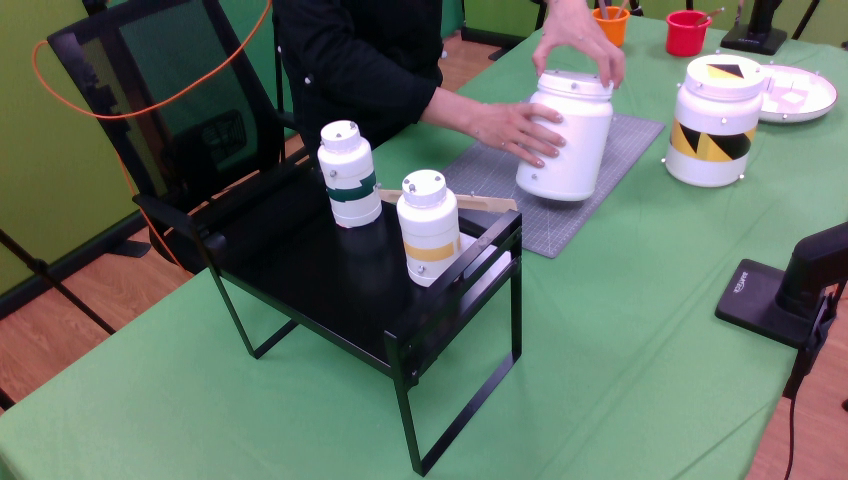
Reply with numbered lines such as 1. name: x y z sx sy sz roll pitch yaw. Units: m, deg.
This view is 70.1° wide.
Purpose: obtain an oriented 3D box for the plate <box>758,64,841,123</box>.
1. plate: 0.695 -0.283 1.189 0.207 0.039 0.206 -4 40 4

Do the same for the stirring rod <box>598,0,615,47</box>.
1. stirring rod: 0.437 -0.551 1.462 0.014 0.006 0.175 -11 83 1

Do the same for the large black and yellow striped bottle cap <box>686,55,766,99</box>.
1. large black and yellow striped bottle cap: 0.474 -0.258 0.952 0.115 0.019 0.114 -5 41 5

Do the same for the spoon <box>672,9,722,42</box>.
1. spoon: 0.606 -0.476 1.345 0.042 0.021 0.193 -6 -3 -2

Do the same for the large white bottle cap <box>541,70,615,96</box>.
1. large white bottle cap: 0.240 -0.245 0.944 0.115 0.018 0.114 7 24 -3

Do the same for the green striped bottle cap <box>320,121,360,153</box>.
1. green striped bottle cap: -0.097 -0.120 0.699 0.044 0.020 0.044 -4 40 3

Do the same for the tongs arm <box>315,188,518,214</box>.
1. tongs arm: -0.028 -0.060 0.988 0.382 0.027 0.051 9 45 36

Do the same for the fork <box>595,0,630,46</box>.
1. fork: 0.479 -0.556 1.452 0.028 0.019 0.207 41 103 40

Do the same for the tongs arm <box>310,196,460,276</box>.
1. tongs arm: -0.078 -0.012 0.944 0.028 0.028 0.384 -43 39 -22

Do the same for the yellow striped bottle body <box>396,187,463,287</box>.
1. yellow striped bottle body: 0.006 -0.013 0.638 0.063 0.121 0.062 -5 41 5

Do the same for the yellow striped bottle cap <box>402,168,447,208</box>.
1. yellow striped bottle cap: 0.000 -0.052 0.604 0.044 0.019 0.044 -4 43 5

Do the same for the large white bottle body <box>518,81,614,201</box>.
1. large white bottle body: 0.230 -0.169 0.978 0.131 0.185 0.130 6 24 -2

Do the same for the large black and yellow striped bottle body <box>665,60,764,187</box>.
1. large black and yellow striped bottle body: 0.482 -0.196 1.008 0.131 0.185 0.130 -4 41 4

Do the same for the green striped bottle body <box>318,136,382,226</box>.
1. green striped bottle body: -0.090 -0.080 0.733 0.063 0.120 0.063 -4 41 4

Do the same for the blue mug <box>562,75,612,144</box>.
1. blue mug: 0.298 -0.239 1.143 0.081 0.106 0.117 30 53 36
